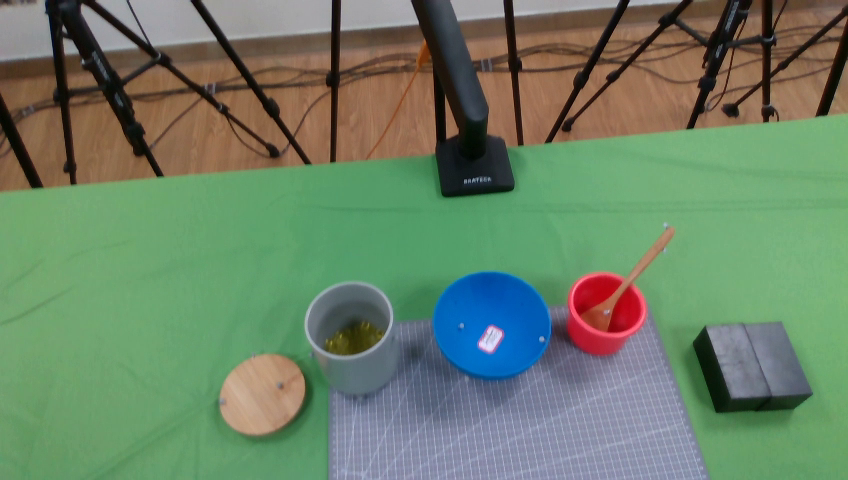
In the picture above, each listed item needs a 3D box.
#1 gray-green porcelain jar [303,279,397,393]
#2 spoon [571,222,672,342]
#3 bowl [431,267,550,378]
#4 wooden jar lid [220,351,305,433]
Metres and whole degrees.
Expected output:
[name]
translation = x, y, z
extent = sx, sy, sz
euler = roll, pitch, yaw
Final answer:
[gray-green porcelain jar]
translation = -0.088, 0.126, 0.762
extent = 0.106, 0.127, 0.105
euler = -1, 55, 1
[spoon]
translation = 0.259, 0.056, 0.789
extent = 0.041, 0.022, 0.194
euler = 44, 111, 27
[bowl]
translation = 0.084, 0.119, 0.791
extent = 0.151, 0.077, 0.150
euler = -1, 55, 1
[wooden jar lid]
translation = -0.208, 0.197, 0.784
extent = 0.108, 0.021, 0.107
euler = -1, 55, 2
